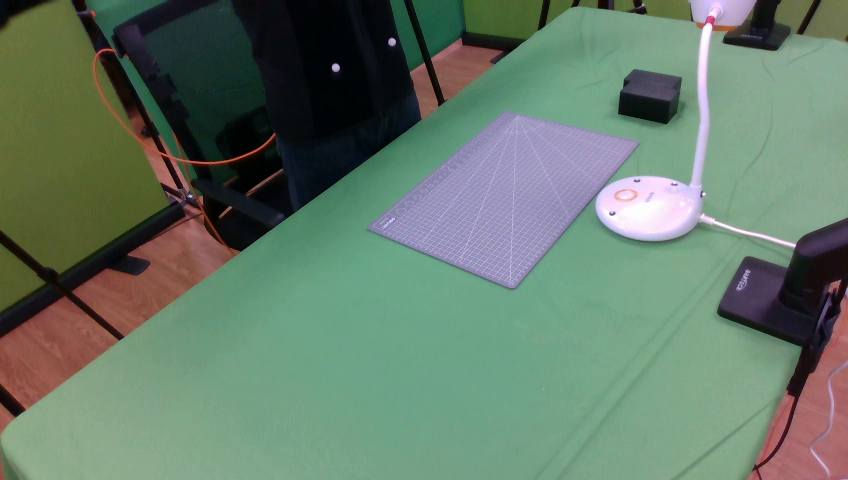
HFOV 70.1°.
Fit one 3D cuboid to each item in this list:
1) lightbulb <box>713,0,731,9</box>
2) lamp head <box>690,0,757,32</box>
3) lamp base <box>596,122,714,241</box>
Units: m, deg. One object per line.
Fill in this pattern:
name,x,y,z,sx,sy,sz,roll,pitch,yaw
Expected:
lightbulb,0.432,-0.387,0.863,0.059,0.108,0.059,-5,31,4
lamp head,0.434,-0.363,0.870,0.112,0.123,0.112,1,28,0
lamp base,0.363,-0.110,0.921,0.178,0.181,0.160,13,45,21
